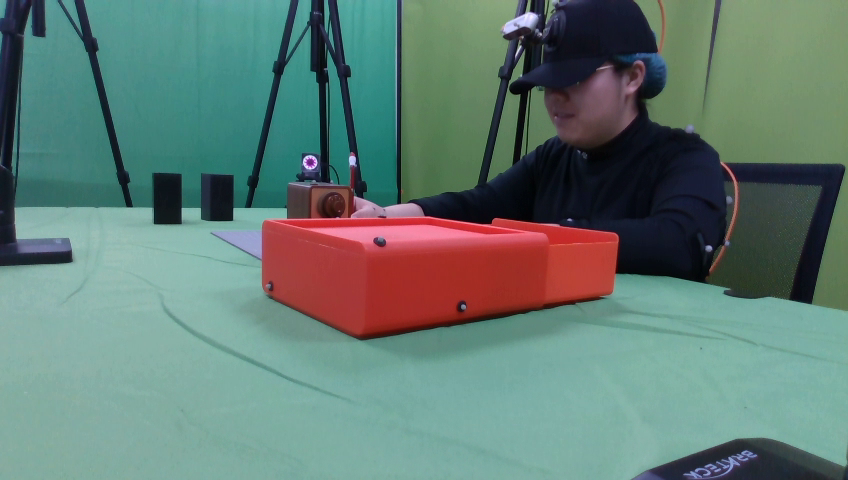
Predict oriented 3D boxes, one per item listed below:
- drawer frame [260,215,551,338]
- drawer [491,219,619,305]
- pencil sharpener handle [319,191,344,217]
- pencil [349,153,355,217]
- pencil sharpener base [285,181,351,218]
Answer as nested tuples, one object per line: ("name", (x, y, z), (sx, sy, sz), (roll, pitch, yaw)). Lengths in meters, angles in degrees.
("drawer frame", (-0.021, 0.024, 0.595), (0.215, 0.082, 0.200), (-4, 10, -38))
("drawer", (0.071, 0.021, 0.669), (0.213, 0.073, 0.193), (-3, 10, -39))
("pencil sharpener handle", (-0.107, -0.026, 0.747), (0.036, 0.067, 0.030), (-5, 11, -36))
("pencil", (-0.127, -0.075, 1.045), (0.012, 0.193, 0.012), (-2, -33, -1))
("pencil sharpener base", (-0.139, -0.020, 0.789), (0.062, 0.107, 0.076), (-2, 9, -36))
